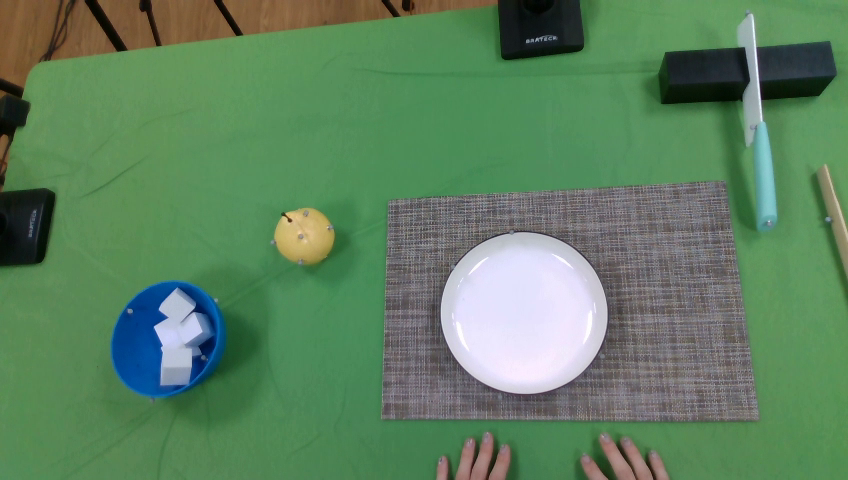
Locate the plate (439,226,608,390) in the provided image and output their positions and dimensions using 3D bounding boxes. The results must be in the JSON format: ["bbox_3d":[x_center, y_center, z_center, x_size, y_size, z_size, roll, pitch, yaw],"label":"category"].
[{"bbox_3d":[0.124,0.085,0.763,0.207,0.039,0.206,-3,73,9],"label":"plate"}]

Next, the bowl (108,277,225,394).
[{"bbox_3d":[-0.326,0.131,0.806,0.151,0.077,0.150,-3,73,8],"label":"bowl"}]

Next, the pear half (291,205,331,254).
[{"bbox_3d":[-0.147,-0.021,0.818,0.031,0.089,0.069,-28,61,0],"label":"pear half"}]

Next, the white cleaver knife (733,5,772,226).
[{"bbox_3d":[0.419,-0.160,0.774,0.021,0.066,0.285,-2,83,14],"label":"white cleaver knife"}]

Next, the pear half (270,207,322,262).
[{"bbox_3d":[-0.181,-0.010,0.808,0.056,0.111,0.075,-29,60,-1],"label":"pear half"}]

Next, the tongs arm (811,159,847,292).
[{"bbox_3d":[0.522,0.082,0.708,0.028,0.028,0.385,-9,72,5],"label":"tongs arm"}]
